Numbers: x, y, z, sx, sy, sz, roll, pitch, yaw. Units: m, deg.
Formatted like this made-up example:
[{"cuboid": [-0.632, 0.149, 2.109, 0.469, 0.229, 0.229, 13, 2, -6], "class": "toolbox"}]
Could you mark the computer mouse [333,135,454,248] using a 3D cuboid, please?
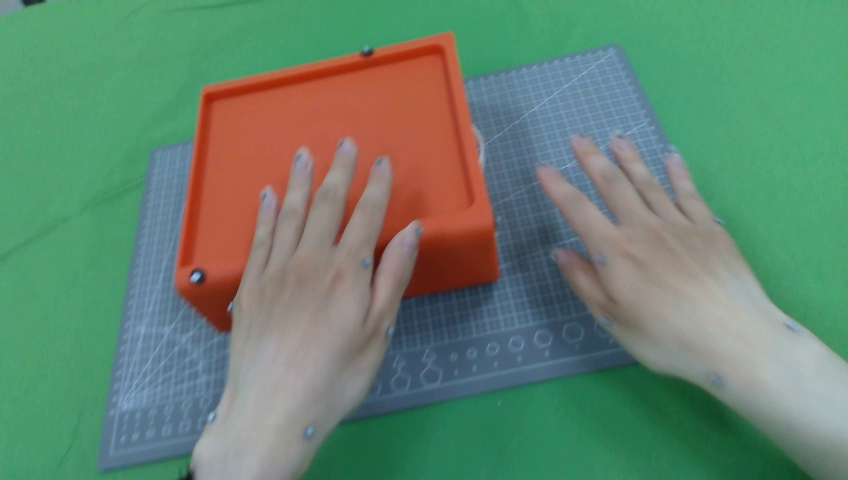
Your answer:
[{"cuboid": [-0.023, -0.044, 0.470, 0.062, 0.041, 0.116, 8, 50, 25], "class": "computer mouse"}]

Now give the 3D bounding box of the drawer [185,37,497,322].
[{"cuboid": [-0.061, -0.050, 0.467, 0.212, 0.074, 0.192, -11, 56, 4], "class": "drawer"}]

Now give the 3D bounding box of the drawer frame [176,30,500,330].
[{"cuboid": [-0.063, -0.049, 0.467, 0.213, 0.083, 0.199, -12, 56, 4], "class": "drawer frame"}]
